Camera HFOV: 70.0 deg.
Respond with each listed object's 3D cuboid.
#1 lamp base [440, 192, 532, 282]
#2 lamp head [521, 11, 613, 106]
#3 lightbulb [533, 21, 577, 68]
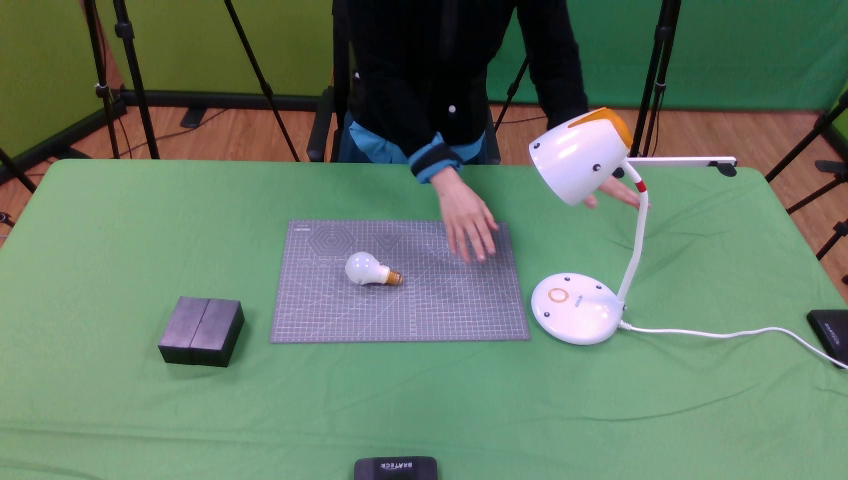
[{"bbox_3d":[0.127,-0.032,1.123,0.179,0.181,0.159,10,46,2],"label":"lamp base"},{"bbox_3d":[0.217,-0.249,0.886,0.112,0.123,0.111,-25,46,30],"label":"lamp head"},{"bbox_3d":[0.201,-0.268,0.876,0.108,0.059,0.059,37,36,-31],"label":"lightbulb"}]
